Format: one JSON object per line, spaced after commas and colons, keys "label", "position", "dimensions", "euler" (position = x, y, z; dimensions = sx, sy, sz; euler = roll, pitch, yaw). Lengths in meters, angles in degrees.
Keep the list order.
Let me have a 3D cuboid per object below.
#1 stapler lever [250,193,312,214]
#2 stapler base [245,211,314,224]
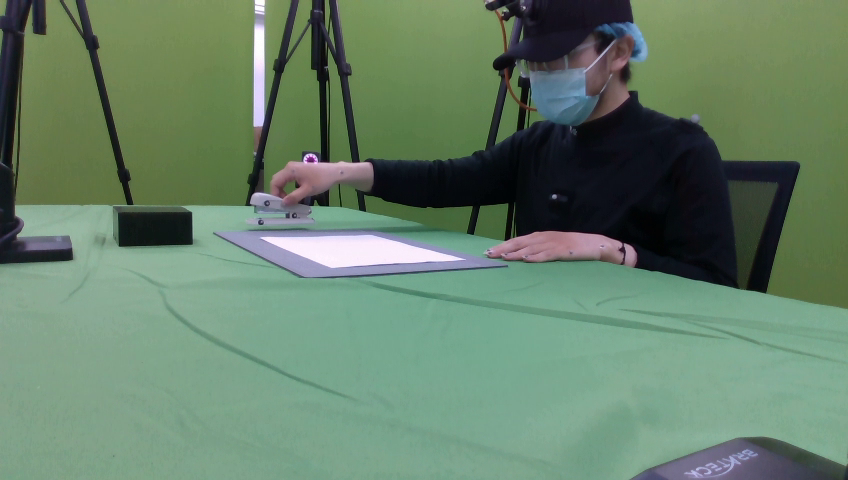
{"label": "stapler lever", "position": [-0.273, -0.069, 1.155], "dimensions": [0.119, 0.040, 0.026], "euler": [-1, 11, -38]}
{"label": "stapler base", "position": [-0.275, -0.044, 1.157], "dimensions": [0.131, 0.024, 0.041], "euler": [-1, 11, -38]}
